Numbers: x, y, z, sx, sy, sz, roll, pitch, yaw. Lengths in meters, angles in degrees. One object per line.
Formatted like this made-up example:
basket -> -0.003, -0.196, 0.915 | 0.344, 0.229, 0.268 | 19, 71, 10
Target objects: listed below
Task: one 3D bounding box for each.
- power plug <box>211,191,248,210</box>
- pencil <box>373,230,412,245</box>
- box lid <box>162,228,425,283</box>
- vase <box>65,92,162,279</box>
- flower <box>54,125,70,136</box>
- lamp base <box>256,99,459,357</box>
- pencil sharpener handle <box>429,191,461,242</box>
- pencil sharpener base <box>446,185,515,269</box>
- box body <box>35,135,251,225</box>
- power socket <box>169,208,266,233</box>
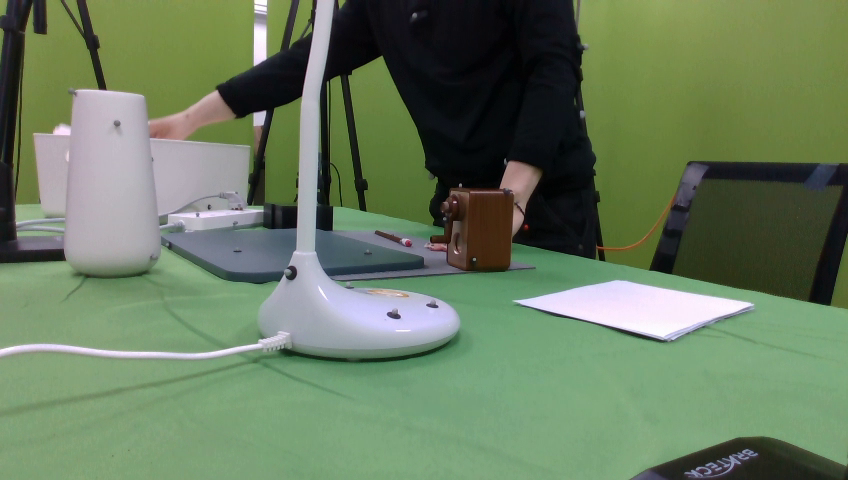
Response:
power plug -> -0.384, -0.071, 1.205 | 0.072, 0.052, 0.035 | 1, 9, 29
pencil -> -0.059, -0.007, 1.061 | 0.012, 0.012, 0.193 | -1, 6, -23
box lid -> -0.200, 0.014, 0.861 | 0.265, 0.015, 0.369 | -3, 9, -35
vase -> -0.347, -0.060, 0.673 | 0.098, 0.200, 0.098 | 1, 7, 0
flower -> -0.568, -0.172, 1.251 | 0.044, 0.038, 0.364 | 21, 6, 36
lamp base -> -0.055, -0.013, 0.463 | 0.160, 0.180, 0.180 | 6, 11, 27
pencil sharpener handle -> 0.025, -0.030, 0.781 | 0.031, 0.067, 0.036 | -2, 16, -25
pencil sharpener base -> 0.072, -0.018, 0.802 | 0.077, 0.107, 0.061 | -2, 9, -25
box body -> -0.559, -0.127, 1.257 | 0.253, 0.160, 0.365 | 4, 8, 15
power socket -> -0.379, -0.038, 1.129 | 0.072, 0.032, 0.227 | 4, 8, 18
